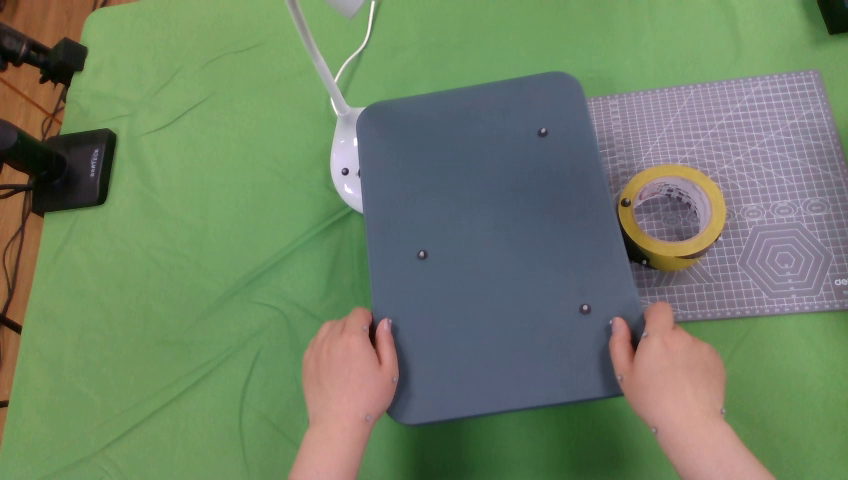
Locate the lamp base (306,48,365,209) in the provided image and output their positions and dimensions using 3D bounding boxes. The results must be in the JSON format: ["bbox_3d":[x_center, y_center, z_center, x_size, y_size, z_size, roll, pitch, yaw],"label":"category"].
[{"bbox_3d":[-0.074,-0.142,0.724,0.178,0.182,0.160,34,80,23],"label":"lamp base"}]

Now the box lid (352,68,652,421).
[{"bbox_3d":[0.065,-0.015,0.634,0.263,0.015,0.368,-10,67,3],"label":"box lid"}]

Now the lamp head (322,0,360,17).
[{"bbox_3d":[-0.079,-0.243,0.442,0.123,0.112,0.112,28,76,-15],"label":"lamp head"}]

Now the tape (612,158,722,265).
[{"bbox_3d":[0.270,-0.033,0.684,0.116,0.053,0.116,-3,70,9],"label":"tape"}]
